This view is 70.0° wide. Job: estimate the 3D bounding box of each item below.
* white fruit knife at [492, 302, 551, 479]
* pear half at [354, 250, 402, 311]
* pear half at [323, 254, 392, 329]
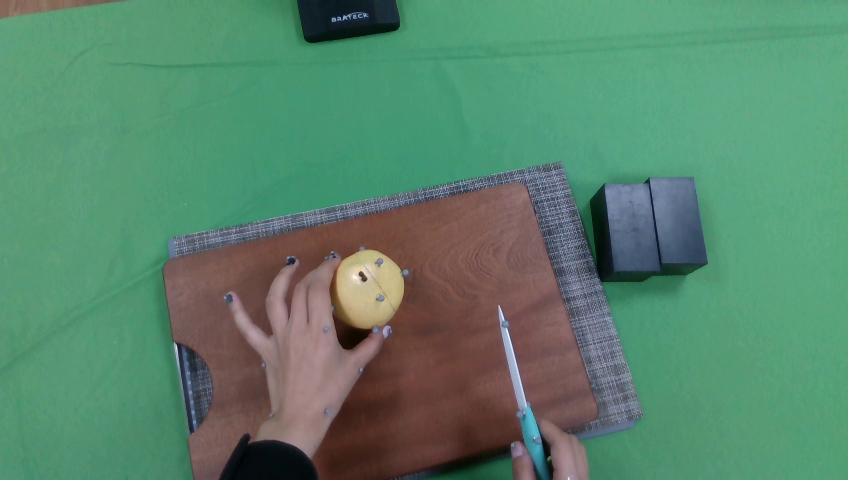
[{"bbox_3d":[0.087,0.152,0.539,0.016,0.027,0.208,-18,100,-14],"label":"white fruit knife"},{"bbox_3d":[-0.041,0.033,0.598,0.031,0.088,0.070,-39,74,-12],"label":"pear half"},{"bbox_3d":[-0.069,0.052,0.580,0.056,0.110,0.076,-39,75,-13],"label":"pear half"}]
